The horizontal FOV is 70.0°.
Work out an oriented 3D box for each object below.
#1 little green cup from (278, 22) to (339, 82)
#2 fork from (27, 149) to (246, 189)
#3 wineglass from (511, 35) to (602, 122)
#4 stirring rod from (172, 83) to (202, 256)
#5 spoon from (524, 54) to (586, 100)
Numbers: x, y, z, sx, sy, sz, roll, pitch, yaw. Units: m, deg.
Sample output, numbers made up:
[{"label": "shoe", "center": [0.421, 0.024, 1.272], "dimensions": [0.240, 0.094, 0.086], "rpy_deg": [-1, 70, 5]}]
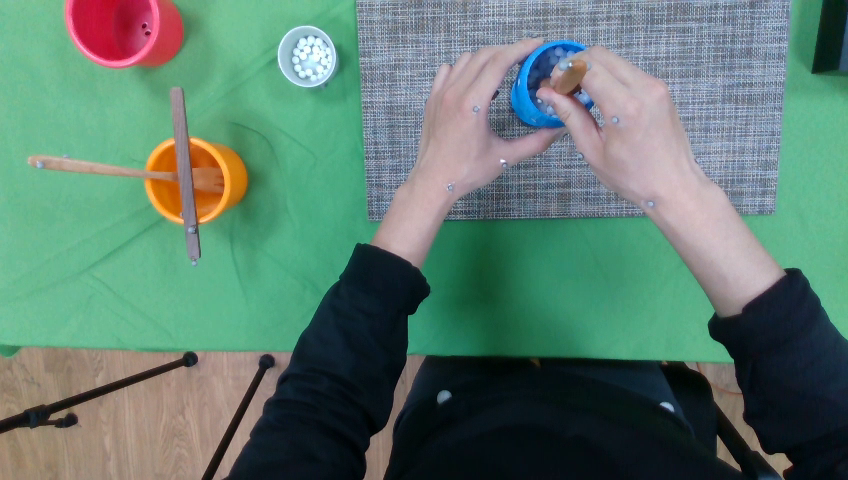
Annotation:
[{"label": "little green cup", "center": [-0.120, -0.198, 0.647], "dimensions": [0.061, 0.038, 0.062], "rpy_deg": [1, 101, 4]}, {"label": "fork", "center": [-0.286, -0.074, 0.626], "dimensions": [0.209, 0.018, 0.028], "rpy_deg": [3, 112, -41]}, {"label": "wineglass", "center": [0.118, -0.146, 0.569], "dimensions": [0.073, 0.172, 0.074], "rpy_deg": [1, 100, 5]}, {"label": "stirring rod", "center": [-0.243, -0.071, 0.622], "dimensions": [0.014, 0.006, 0.176], "rpy_deg": [-1, 100, 4]}, {"label": "spoon", "center": [0.104, -0.121, 0.464], "dimensions": [0.041, 0.193, 0.022], "rpy_deg": [13, 102, 2]}]
